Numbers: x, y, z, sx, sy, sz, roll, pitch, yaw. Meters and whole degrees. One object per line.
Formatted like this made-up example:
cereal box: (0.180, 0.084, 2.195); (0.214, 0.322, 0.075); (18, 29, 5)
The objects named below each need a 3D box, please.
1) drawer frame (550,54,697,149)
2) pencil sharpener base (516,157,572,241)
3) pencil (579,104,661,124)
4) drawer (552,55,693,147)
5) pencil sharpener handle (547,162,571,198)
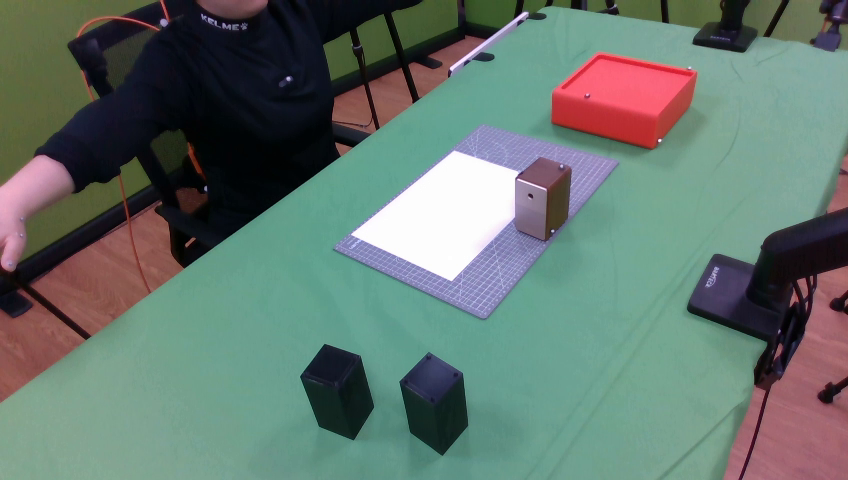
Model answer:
drawer frame: (0.391, -0.280, 1.194); (0.212, 0.083, 0.202); (23, 48, 30)
pencil sharpener base: (0.189, -0.065, 0.948); (0.061, 0.107, 0.077); (24, 49, 33)
pencil: (0.395, -0.255, 1.212); (0.195, 0.012, 0.012); (-15, 40, -16)
drawer: (0.389, -0.279, 1.196); (0.210, 0.073, 0.195); (24, 49, 31)
pencil sharpener handle: (0.221, -0.101, 0.968); (0.035, 0.068, 0.031); (19, 46, 37)
